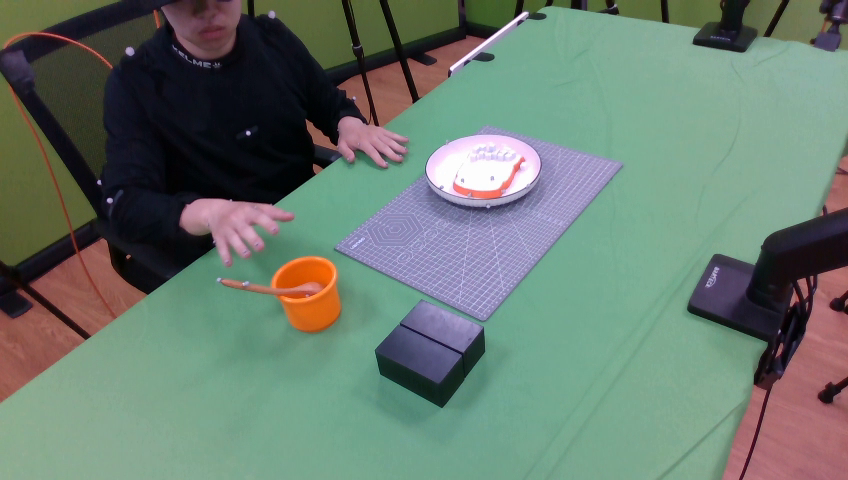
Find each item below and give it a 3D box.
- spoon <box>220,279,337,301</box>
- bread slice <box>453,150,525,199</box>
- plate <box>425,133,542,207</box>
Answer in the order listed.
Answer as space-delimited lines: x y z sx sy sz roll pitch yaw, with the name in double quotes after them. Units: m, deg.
-0.189 0.068 0.813 0.041 0.021 0.195 32 14 35 "spoon"
0.112 -0.118 1.079 0.104 0.019 0.131 11 42 21 "bread slice"
0.106 -0.121 1.079 0.209 0.038 0.208 -4 41 4 "plate"
